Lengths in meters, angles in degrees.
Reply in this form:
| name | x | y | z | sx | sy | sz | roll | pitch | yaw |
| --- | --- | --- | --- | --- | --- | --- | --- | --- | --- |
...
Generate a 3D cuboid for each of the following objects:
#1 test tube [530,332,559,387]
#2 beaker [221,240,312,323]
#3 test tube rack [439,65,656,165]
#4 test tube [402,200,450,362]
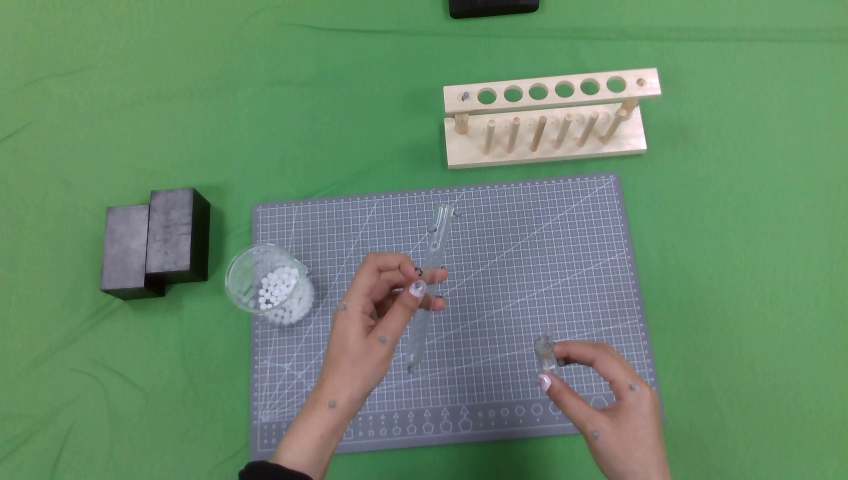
| name | x | y | z | sx | sy | sz | roll | pitch | yaw |
| --- | --- | --- | --- | --- | --- | --- | --- | --- | --- |
| test tube | 0.105 | 0.106 | 0.521 | 0.017 | 0.152 | 0.017 | -6 | 65 | 13 |
| beaker | -0.164 | 0.049 | 0.662 | 0.084 | 0.101 | 0.073 | -12 | 73 | -2 |
| test tube rack | 0.141 | -0.146 | 0.720 | 0.242 | 0.085 | 0.066 | -5 | 73 | 1 |
| test tube | 0.000 | 0.038 | 0.522 | 0.017 | 0.017 | 0.151 | 13 | 108 | 6 |
